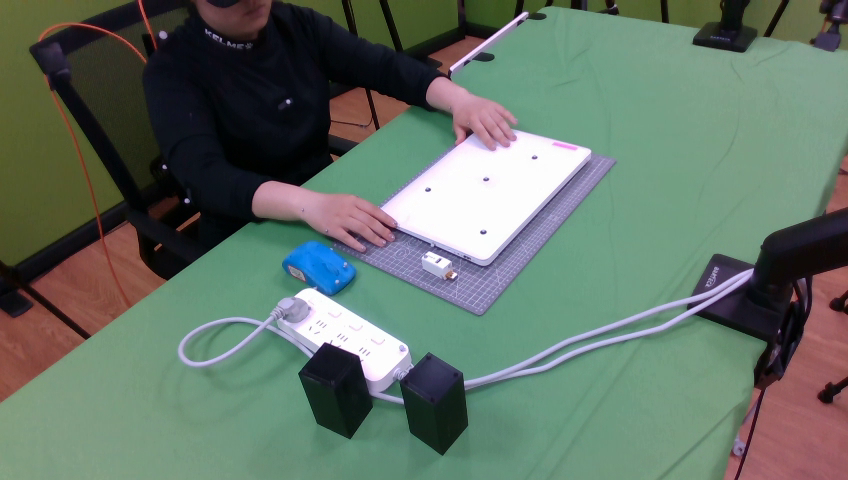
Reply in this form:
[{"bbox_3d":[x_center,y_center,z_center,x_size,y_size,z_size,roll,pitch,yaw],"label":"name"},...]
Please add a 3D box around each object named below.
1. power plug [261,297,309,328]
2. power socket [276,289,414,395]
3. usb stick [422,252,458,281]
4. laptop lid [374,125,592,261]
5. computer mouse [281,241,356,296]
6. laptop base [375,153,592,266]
[{"bbox_3d":[-0.192,0.107,0.831,0.073,0.053,0.035,-33,43,-24],"label":"power plug"},{"bbox_3d":[-0.115,0.133,0.820,0.225,0.033,0.072,26,49,33],"label":"power socket"},{"bbox_3d":[0.025,0.042,0.908,0.058,0.027,0.021,27,50,31],"label":"usb stick"},{"bbox_3d":[0.109,-0.101,1.056,0.239,0.013,0.358,23,49,34],"label":"laptop lid"},{"bbox_3d":[-0.164,0.041,0.934,0.116,0.041,0.063,27,48,28],"label":"computer mouse"},{"bbox_3d":[0.112,-0.091,1.063,0.233,0.023,0.355,21,47,34],"label":"laptop base"}]
